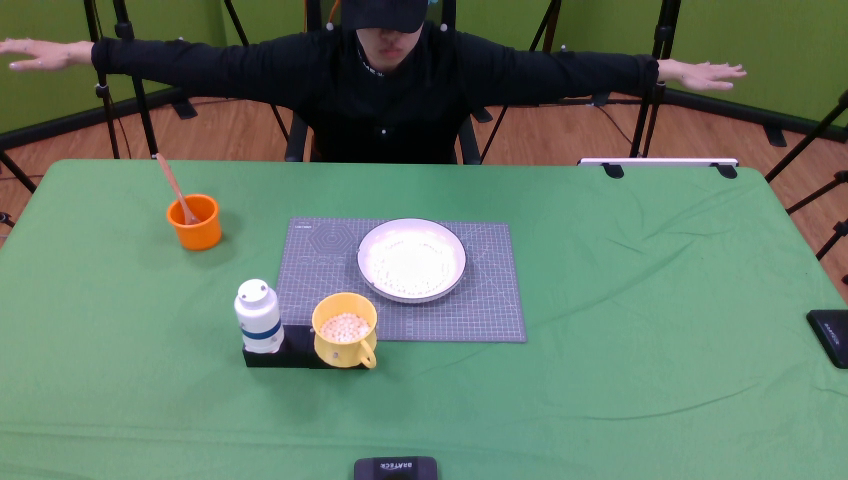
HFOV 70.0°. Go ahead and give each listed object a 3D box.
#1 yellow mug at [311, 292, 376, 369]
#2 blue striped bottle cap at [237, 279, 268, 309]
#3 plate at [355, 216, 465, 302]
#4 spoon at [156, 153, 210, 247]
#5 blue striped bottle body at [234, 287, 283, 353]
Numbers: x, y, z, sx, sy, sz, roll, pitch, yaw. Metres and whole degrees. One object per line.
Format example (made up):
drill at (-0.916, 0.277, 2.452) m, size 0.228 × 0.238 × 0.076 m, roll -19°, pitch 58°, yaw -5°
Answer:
yellow mug at (-0.115, 0.150, 0.945) m, size 0.100 × 0.064 × 0.130 m, roll -30°, pitch 57°, yaw -28°
blue striped bottle cap at (-0.252, 0.078, 0.892) m, size 0.044 × 0.021 × 0.044 m, roll 4°, pitch 47°, yaw -4°
plate at (-0.027, 0.039, 1.144) m, size 0.208 × 0.039 × 0.206 m, roll 2°, pitch 46°, yaw -2°
spoon at (-0.458, -0.076, 1.147) m, size 0.041 × 0.194 × 0.021 m, roll -26°, pitch 10°, yaw -24°
blue striped bottle body at (-0.254, 0.114, 0.929) m, size 0.063 × 0.121 × 0.062 m, roll 2°, pitch 46°, yaw -2°
